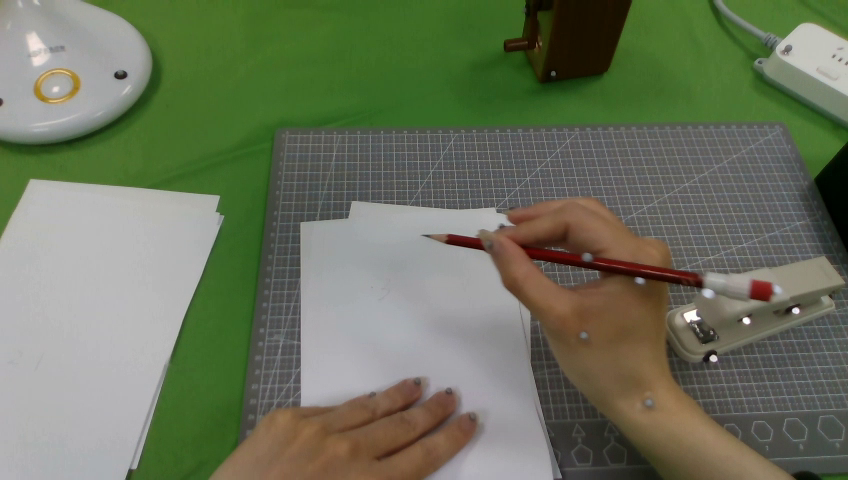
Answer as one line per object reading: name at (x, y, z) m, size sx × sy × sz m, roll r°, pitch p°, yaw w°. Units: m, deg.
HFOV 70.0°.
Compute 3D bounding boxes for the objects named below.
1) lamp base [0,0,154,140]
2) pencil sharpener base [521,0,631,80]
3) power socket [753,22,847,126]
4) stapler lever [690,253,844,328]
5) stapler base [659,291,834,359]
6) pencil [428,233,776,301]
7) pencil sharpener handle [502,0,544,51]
lamp base at (-0.327, -0.200, 0.474) m, size 0.161 × 0.182 × 0.177 m, roll -29°, pitch 60°, yaw -19°
pencil sharpener base at (0.130, -0.203, 0.536) m, size 0.077 × 0.108 × 0.061 m, roll -11°, pitch 59°, yaw -8°
power socket at (0.412, -0.123, 0.540) m, size 0.072 × 0.033 × 0.225 m, roll -39°, pitch 66°, yaw -24°
stapler lever at (0.234, 0.031, 0.409) m, size 0.118 × 0.040 × 0.026 m, roll -16°, pitch 60°, yaw -13°
stapler base at (0.233, 0.046, 0.429) m, size 0.131 × 0.024 × 0.041 m, roll -15°, pitch 60°, yaw -13°
pencil at (0.080, 0.010, 0.327) m, size 0.192 × 0.012 × 0.012 m, roll 10°, pitch 54°, yaw 35°
pencil sharpener handle at (0.082, -0.195, 0.514) m, size 0.031 × 0.068 × 0.035 m, roll -11°, pitch 36°, yaw -8°
